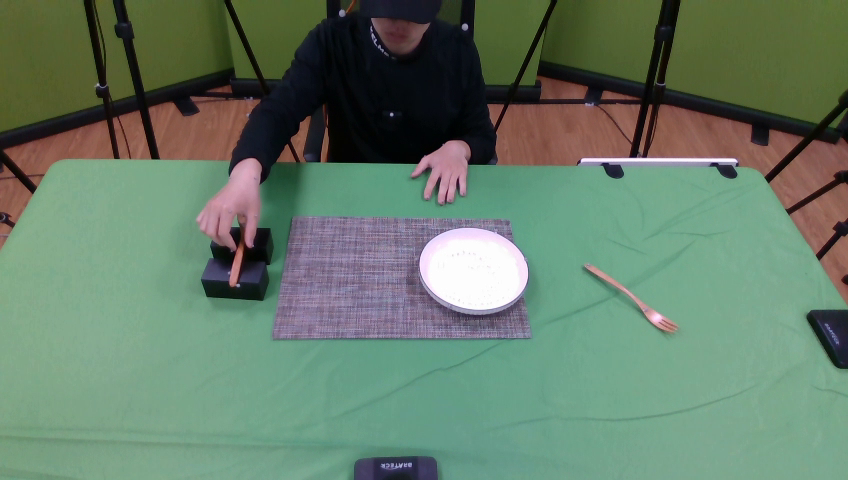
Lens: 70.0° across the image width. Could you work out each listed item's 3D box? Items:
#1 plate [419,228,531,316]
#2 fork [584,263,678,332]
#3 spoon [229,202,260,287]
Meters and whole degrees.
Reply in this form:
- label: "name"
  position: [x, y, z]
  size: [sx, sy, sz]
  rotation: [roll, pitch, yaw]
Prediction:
- label: "plate"
  position: [0.093, 0.062, 1.131]
  size: [0.208, 0.039, 0.206]
  rotation: [2, 46, -2]
- label: "fork"
  position: [0.380, 0.103, 1.130]
  size: [0.028, 0.019, 0.206]
  rotation: [-34, 58, -23]
- label: "spoon"
  position: [-0.331, 0.004, 1.100]
  size: [0.042, 0.022, 0.192]
  rotation: [17, 43, -19]
